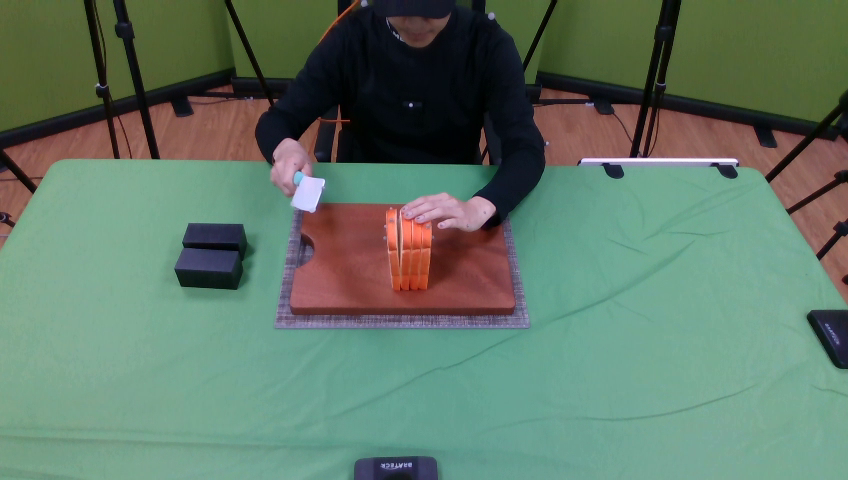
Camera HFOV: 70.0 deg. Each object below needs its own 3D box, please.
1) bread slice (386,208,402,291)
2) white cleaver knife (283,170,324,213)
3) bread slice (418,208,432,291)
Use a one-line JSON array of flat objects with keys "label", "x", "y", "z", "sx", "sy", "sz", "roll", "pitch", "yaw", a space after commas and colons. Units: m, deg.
[{"label": "bread slice", "x": -0.053, "y": 0.009, "z": 1.069, "sx": 0.019, "sy": 0.132, "sz": 0.104, "roll": -5, "pitch": 46, "yaw": -1}, {"label": "white cleaver knife", "x": -0.222, "y": -0.089, "z": 1.074, "sx": 0.021, "sy": 0.066, "sz": 0.285, "roll": 23, "pitch": -1, "yaw": -24}, {"label": "bread slice", "x": 0.001, "y": 0.011, "z": 1.070, "sx": 0.018, "sy": 0.135, "sz": 0.106, "roll": -2, "pitch": 48, "yaw": -5}]
